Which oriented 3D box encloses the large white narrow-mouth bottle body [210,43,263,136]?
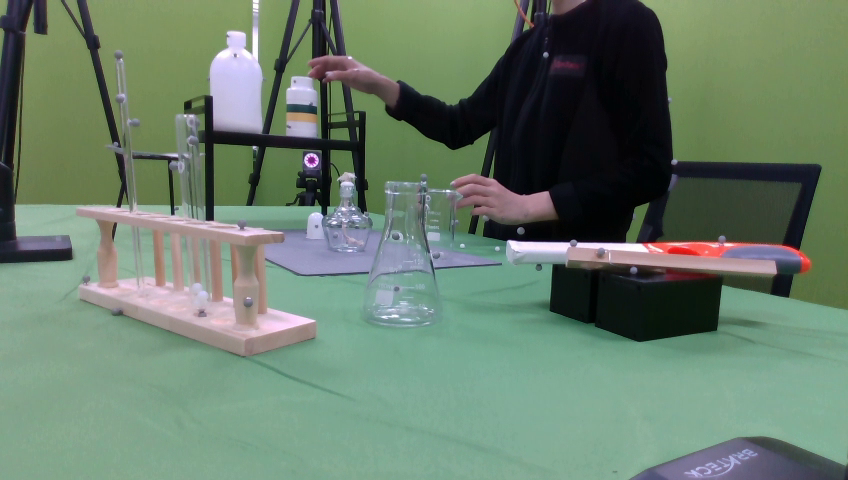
[{"bbox_3d":[-0.369,-0.305,1.194,0.102,0.194,0.102,3,8,0],"label":"large white narrow-mouth bottle body"}]

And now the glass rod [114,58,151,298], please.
[{"bbox_3d":[-0.236,-0.044,0.492,0.008,0.199,0.008,1,15,0],"label":"glass rod"}]

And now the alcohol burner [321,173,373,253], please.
[{"bbox_3d":[-0.115,-0.041,0.905,0.078,0.119,0.078,1,6,0],"label":"alcohol burner"}]

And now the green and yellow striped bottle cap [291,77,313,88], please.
[{"bbox_3d":[-0.250,-0.321,1.238,0.045,0.020,0.045,4,6,0],"label":"green and yellow striped bottle cap"}]

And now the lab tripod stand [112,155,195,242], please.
[{"bbox_3d":[-0.405,-0.064,0.931,0.148,0.131,0.148,1,6,0],"label":"lab tripod stand"}]

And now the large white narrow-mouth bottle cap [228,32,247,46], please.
[{"bbox_3d":[-0.364,-0.391,1.180,0.038,0.024,0.037,3,8,0],"label":"large white narrow-mouth bottle cap"}]

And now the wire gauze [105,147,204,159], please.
[{"bbox_3d":[-0.407,-0.131,0.928,0.125,0.011,0.121,2,6,-11],"label":"wire gauze"}]

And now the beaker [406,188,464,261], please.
[{"bbox_3d":[0.014,-0.024,0.870,0.084,0.100,0.074,3,8,-4],"label":"beaker"}]

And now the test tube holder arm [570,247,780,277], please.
[{"bbox_3d":[0.217,0.019,0.525,0.178,0.015,0.013,3,-23,3],"label":"test tube holder arm"}]

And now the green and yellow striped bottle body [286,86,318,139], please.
[{"bbox_3d":[-0.251,-0.270,1.245,0.063,0.119,0.063,2,7,0],"label":"green and yellow striped bottle body"}]

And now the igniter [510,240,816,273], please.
[{"bbox_3d":[0.220,0.015,0.565,0.277,0.025,0.057,2,16,0],"label":"igniter"}]

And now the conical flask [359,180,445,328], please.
[{"bbox_3d":[-0.017,0.010,0.522,0.075,0.122,0.075,2,7,0],"label":"conical flask"}]

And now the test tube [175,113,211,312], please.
[{"bbox_3d":[-0.175,-0.020,0.458,0.017,0.150,0.017,-2,5,1],"label":"test tube"}]

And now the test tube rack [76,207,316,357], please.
[{"bbox_3d":[-0.196,0.023,0.499,0.241,0.085,0.067,8,9,36],"label":"test tube rack"}]

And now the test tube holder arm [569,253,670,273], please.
[{"bbox_3d":[0.172,0.019,0.532,0.088,0.015,0.010,3,-23,3],"label":"test tube holder arm"}]

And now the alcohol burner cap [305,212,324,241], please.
[{"bbox_3d":[-0.185,-0.023,1.027,0.034,0.048,0.034,2,7,0],"label":"alcohol burner cap"}]
